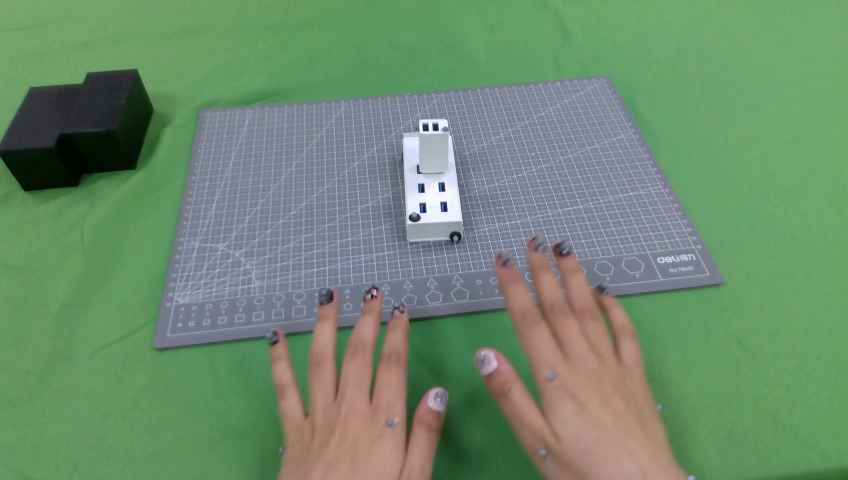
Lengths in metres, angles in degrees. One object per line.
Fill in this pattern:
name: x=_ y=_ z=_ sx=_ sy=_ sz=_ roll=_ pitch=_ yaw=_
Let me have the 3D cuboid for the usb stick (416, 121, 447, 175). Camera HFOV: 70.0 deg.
usb stick: x=0.007 y=-0.075 z=0.538 sx=0.027 sy=0.060 sz=0.021 roll=-6 pitch=48 yaw=-1

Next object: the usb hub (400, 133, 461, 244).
usb hub: x=0.004 y=-0.050 z=0.555 sx=0.049 sy=0.025 sz=0.124 roll=-3 pitch=48 yaw=-1
